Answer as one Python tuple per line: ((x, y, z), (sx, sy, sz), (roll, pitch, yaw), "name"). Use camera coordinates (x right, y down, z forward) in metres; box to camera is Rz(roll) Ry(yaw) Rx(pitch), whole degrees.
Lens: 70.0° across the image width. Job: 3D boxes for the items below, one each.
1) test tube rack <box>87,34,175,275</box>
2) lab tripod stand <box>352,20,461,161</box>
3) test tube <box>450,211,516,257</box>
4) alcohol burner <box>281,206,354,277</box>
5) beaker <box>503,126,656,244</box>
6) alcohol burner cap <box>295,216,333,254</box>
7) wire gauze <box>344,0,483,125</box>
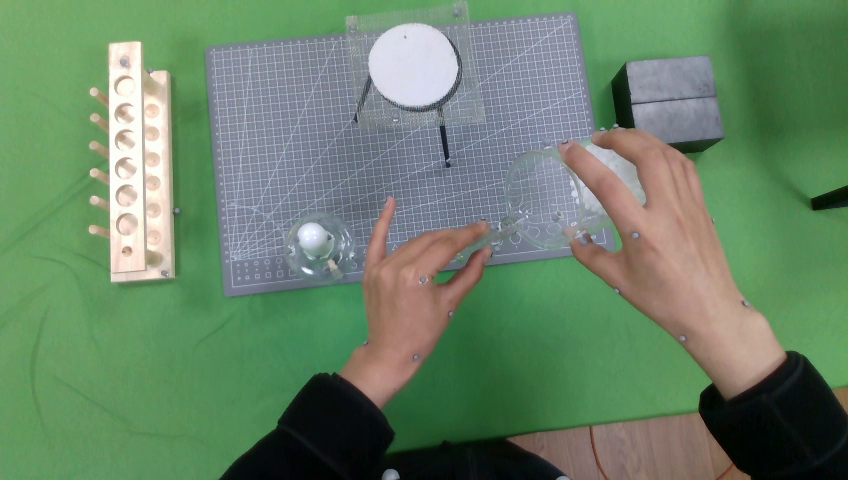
((-0.321, -0.088, 0.655), (0.067, 0.085, 0.241), (-4, 82, -3), "test tube rack")
((-0.010, -0.167, 0.653), (0.148, 0.132, 0.148), (0, 80, -1), "lab tripod stand")
((0.049, -0.002, 0.542), (0.017, 0.150, 0.017), (2, 79, -12), "test tube")
((-0.113, -0.001, 0.635), (0.078, 0.119, 0.077), (1, 81, -4), "alcohol burner")
((0.119, -0.044, 0.463), (0.100, 0.084, 0.073), (-19, 77, -34), "beaker")
((-0.111, -0.006, 0.600), (0.034, 0.048, 0.033), (-1, 76, 3), "alcohol burner cap")
((-0.011, -0.172, 0.587), (0.125, 0.011, 0.121), (-6, 83, -3), "wire gauze")
